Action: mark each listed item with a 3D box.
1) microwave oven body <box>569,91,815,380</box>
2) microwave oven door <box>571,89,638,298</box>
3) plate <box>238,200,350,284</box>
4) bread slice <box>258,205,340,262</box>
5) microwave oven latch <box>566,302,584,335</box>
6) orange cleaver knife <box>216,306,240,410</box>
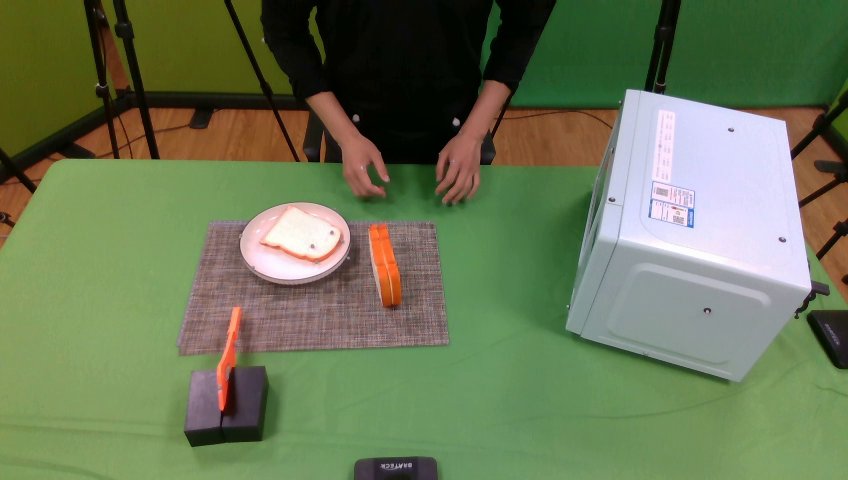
[{"bbox_3d":[0.468,-0.022,1.082,0.325,0.261,0.440,15,46,11],"label":"microwave oven body"},{"bbox_3d":[0.343,-0.091,1.133,0.039,0.245,0.354,15,47,10],"label":"microwave oven door"},{"bbox_3d":[-0.245,0.007,1.155,0.208,0.039,0.206,2,46,-2],"label":"plate"},{"bbox_3d":[-0.232,-0.009,1.168,0.134,0.018,0.106,19,51,10],"label":"bread slice"},{"bbox_3d":[0.268,0.126,1.059,0.030,0.029,0.079,16,46,12],"label":"microwave oven latch"},{"bbox_3d":[-0.307,0.180,0.957,0.012,0.077,0.210,-2,25,-8],"label":"orange cleaver knife"}]
